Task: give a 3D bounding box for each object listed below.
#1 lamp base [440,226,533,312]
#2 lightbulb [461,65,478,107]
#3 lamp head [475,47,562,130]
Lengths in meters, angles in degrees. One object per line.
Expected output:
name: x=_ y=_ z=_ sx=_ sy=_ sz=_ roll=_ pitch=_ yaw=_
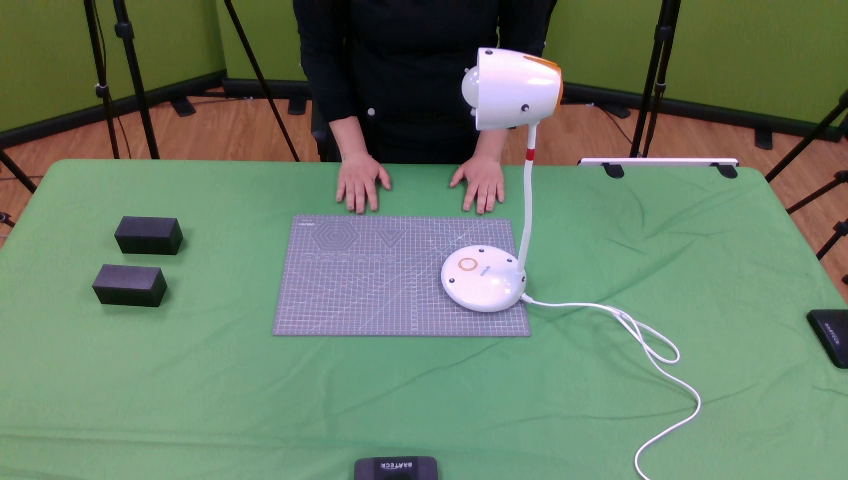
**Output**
lamp base: x=0.126 y=0.021 z=1.073 sx=0.179 sy=0.181 sz=0.160 roll=22 pitch=49 yaw=13
lightbulb: x=0.106 y=-0.214 z=0.850 sx=0.108 sy=0.060 sz=0.059 roll=4 pitch=45 yaw=-2
lamp head: x=0.129 y=-0.206 z=0.841 sx=0.123 sy=0.113 sz=0.112 roll=5 pitch=45 yaw=-1
